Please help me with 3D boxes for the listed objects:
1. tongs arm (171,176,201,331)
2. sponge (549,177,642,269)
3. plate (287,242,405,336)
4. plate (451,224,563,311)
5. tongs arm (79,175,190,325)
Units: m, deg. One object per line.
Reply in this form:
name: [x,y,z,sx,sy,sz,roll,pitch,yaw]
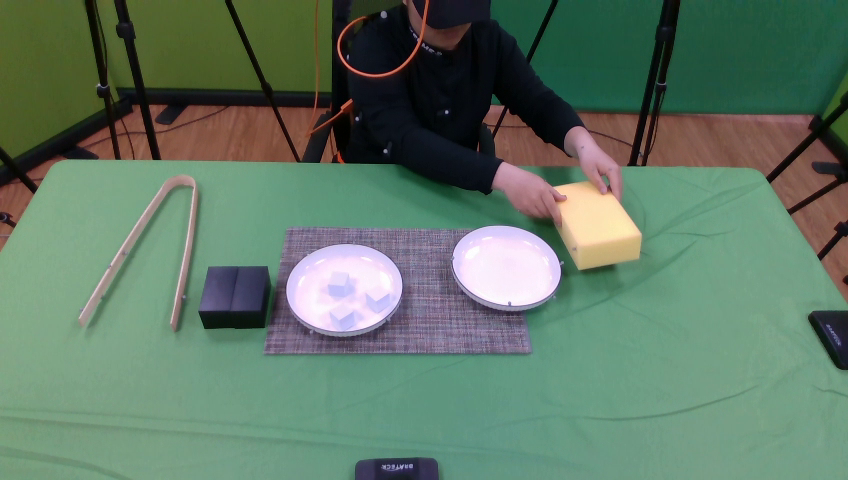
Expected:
tongs arm: [-0.453,0.010,1.151,0.028,0.028,0.385,-6,47,-6]
sponge: [0.332,-0.039,1.195,0.118,0.061,0.205,-10,37,-1]
plate: [-0.138,0.090,1.084,0.208,0.039,0.206,2,46,-2]
plate: [0.154,0.053,1.140,0.209,0.038,0.208,2,47,-2]
tongs arm: [-0.534,0.005,1.145,0.051,0.026,0.382,6,45,0]
